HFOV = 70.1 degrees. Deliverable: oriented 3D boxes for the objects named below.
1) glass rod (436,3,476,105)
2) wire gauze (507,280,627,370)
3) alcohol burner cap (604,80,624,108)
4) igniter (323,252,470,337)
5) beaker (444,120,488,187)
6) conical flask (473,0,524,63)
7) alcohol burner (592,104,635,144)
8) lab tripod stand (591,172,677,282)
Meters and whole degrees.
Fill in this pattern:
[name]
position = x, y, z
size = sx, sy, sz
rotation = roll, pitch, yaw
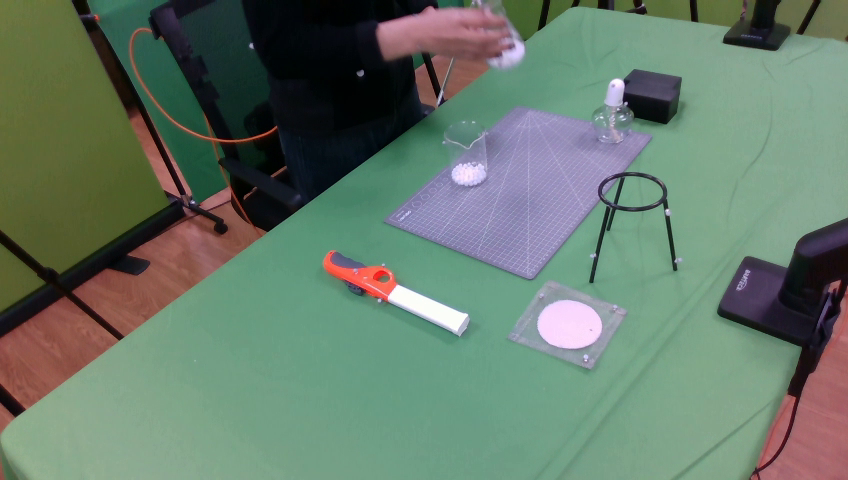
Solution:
[glass rod]
position = 0.059, -0.345, 1.121
size = 0.008, 0.008, 0.199
rotation = 22, 92, 32
[wire gauze]
position = 0.196, 0.114, 0.823
size = 0.120, 0.011, 0.125
rotation = 20, 50, 31
[alcohol burner cap]
position = 0.350, -0.269, 1.102
size = 0.034, 0.048, 0.033
rotation = -2, 46, 2
[igniter]
position = -0.052, 0.075, 0.901
size = 0.274, 0.025, 0.057
rotation = 22, 60, 32
[beaker]
position = 0.078, -0.150, 1.083
size = 0.074, 0.101, 0.083
rotation = -9, 40, 1
[conical flask]
position = 0.113, -0.355, 0.982
size = 0.075, 0.123, 0.075
rotation = -13, 52, 17
[alcohol burner]
position = 0.353, -0.242, 1.126
size = 0.078, 0.119, 0.077
rotation = -5, 38, 5
[lab tripod stand]
position = 0.292, -0.022, 0.867
size = 0.148, 0.132, 0.147
rotation = -7, 39, 6
